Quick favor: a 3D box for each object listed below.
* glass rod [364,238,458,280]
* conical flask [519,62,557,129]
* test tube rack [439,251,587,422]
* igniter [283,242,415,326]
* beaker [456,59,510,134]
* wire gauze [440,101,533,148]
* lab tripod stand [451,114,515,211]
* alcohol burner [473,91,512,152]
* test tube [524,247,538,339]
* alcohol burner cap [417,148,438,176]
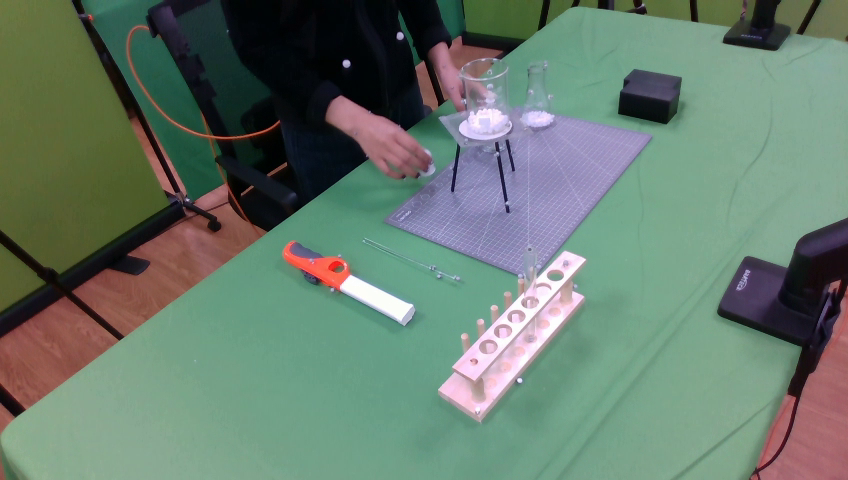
[{"bbox_3d":[-0.026,0.029,0.966,0.198,0.008,0.008,21,49,35],"label":"glass rod"},{"bbox_3d":[0.225,-0.288,1.198,0.075,0.122,0.075,-6,40,5],"label":"conical flask"},{"bbox_3d":[0.118,0.111,0.780,0.066,0.085,0.243,26,51,35],"label":"test tube rack"},{"bbox_3d":[-0.126,0.062,0.931,0.274,0.025,0.057,24,61,33],"label":"igniter"},{"bbox_3d":[0.098,-0.226,0.964,0.084,0.101,0.073,-7,39,4],"label":"beaker"},{"bbox_3d":[0.100,-0.189,0.995,0.125,0.011,0.120,-16,37,-6],"label":"wire gauze"},{"bbox_3d":[0.113,-0.140,1.037,0.148,0.132,0.147,-6,38,5],"label":"lab tripod stand"},{"bbox_3d":[0.132,-0.229,1.154,0.078,0.119,0.077,-5,38,4],"label":"alcohol burner"},{"bbox_3d":[0.133,0.070,0.749,0.017,0.151,0.017,-5,38,4],"label":"test tube"},{"bbox_3d":[0.003,-0.142,1.089,0.034,0.048,0.033,-9,44,10],"label":"alcohol burner cap"}]
